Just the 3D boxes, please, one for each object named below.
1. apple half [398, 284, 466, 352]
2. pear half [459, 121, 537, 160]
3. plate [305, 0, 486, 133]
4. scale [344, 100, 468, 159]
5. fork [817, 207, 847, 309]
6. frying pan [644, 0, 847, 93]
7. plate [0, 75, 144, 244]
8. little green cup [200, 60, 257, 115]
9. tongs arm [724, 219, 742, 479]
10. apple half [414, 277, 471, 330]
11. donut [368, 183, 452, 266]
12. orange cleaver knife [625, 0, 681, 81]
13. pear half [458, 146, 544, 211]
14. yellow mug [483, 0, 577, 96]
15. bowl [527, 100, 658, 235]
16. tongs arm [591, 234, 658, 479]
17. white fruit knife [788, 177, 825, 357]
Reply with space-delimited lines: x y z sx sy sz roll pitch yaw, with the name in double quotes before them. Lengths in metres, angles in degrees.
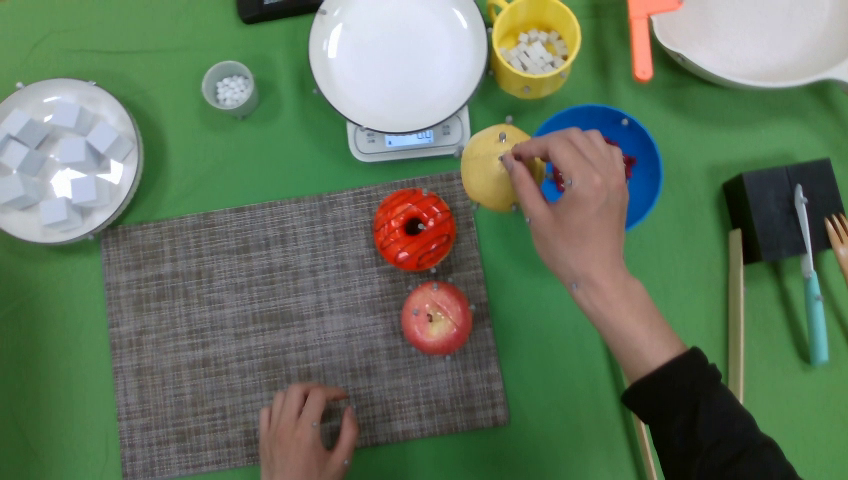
"apple half" 0.002 0.093 0.674 0.080 0.075 0.053 44 89 5
"pear half" 0.064 -0.090 0.544 0.070 0.088 0.031 -16 91 -1
"plate" -0.032 -0.223 0.708 0.209 0.038 0.208 0 82 2
"scale" -0.028 -0.203 0.739 0.148 0.031 0.200 -6 83 2
"fork" 0.474 0.063 0.670 0.028 0.018 0.208 -20 97 -3
"frying pan" 0.445 -0.234 0.689 0.307 0.103 0.485 -36 75 -2
"plate" -0.439 -0.095 0.736 0.207 0.039 0.207 0 82 2
"little green cup" -0.236 -0.184 0.740 0.061 0.039 0.061 0 82 3
"tongs arm" 0.338 0.168 0.678 0.028 0.028 0.386 5 84 -4
"apple half" 0.028 0.064 0.675 0.081 0.081 0.033 43 89 7
"donut" -0.017 -0.018 0.703 0.099 0.048 0.098 -1 83 5
"orange cleaver knife" 0.251 -0.284 0.685 0.077 0.012 0.210 -5 83 4
"pear half" 0.072 -0.055 0.534 0.076 0.110 0.056 -15 90 0
"yellow mug" 0.115 -0.242 0.721 0.100 0.064 0.130 -42 82 -3
"bowl" 0.179 -0.075 0.691 0.151 0.077 0.151 0 83 2
"tongs arm" 0.251 0.176 0.678 0.051 0.026 0.383 -10 84 -3
"white fruit knife" 0.419 0.033 0.668 0.016 0.027 0.208 -12 97 1
